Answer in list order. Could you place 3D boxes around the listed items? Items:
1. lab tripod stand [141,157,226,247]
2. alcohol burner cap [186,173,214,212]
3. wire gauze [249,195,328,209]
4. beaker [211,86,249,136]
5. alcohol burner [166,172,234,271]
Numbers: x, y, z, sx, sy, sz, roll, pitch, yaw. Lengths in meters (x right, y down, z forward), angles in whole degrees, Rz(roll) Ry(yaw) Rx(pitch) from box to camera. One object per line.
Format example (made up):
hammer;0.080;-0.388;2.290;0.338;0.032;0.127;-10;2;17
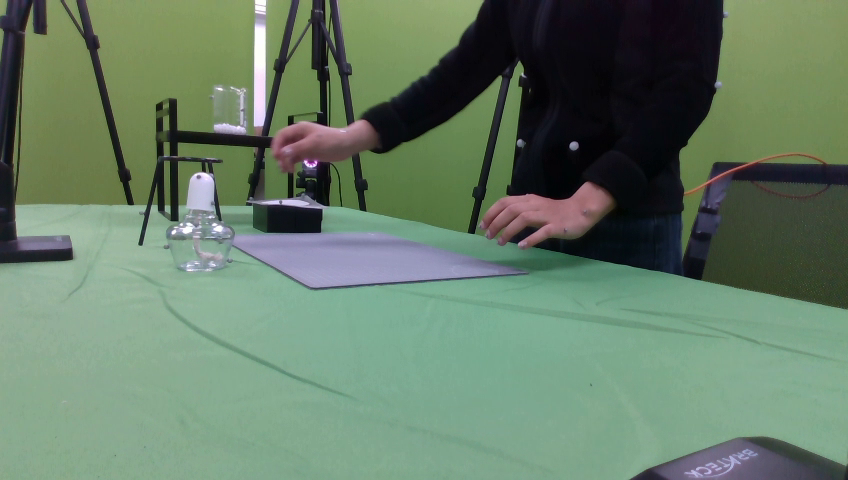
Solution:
lab tripod stand;-0.353;-0.060;0.920;0.148;0.131;0.148;0;6;0
alcohol burner cap;-0.268;-0.057;0.730;0.034;0.048;0.034;5;1;0
wire gauze;-0.260;-0.071;1.139;0.126;0.011;0.121;-3;12;-27
beaker;-0.413;-0.274;1.297;0.074;0.100;0.083;-5;11;-44
alcohol burner;-0.271;-0.023;0.735;0.078;0.119;0.078;2;5;0
